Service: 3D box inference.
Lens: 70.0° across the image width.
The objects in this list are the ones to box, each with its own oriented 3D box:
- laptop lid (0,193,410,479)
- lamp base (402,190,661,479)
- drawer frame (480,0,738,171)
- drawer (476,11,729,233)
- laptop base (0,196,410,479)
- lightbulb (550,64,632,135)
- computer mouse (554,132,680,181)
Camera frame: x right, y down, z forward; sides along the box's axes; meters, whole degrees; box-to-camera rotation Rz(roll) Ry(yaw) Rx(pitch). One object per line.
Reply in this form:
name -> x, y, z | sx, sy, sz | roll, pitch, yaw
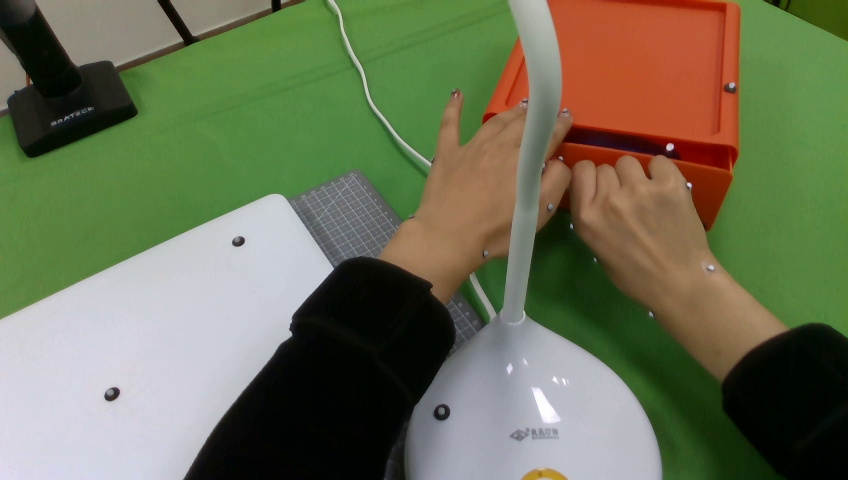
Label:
laptop lid -> -0.215, 0.109, 0.424 | 0.357, 0.013, 0.239 | -27, 55, -16
lamp base -> 0.059, 0.074, 0.333 | 0.161, 0.182, 0.177 | -12, 48, -6
drawer frame -> 0.176, -0.141, 0.564 | 0.201, 0.083, 0.212 | 11, 52, 15
drawer -> 0.168, -0.119, 0.549 | 0.194, 0.074, 0.210 | 11, 52, 16
laptop base -> -0.215, 0.115, 0.435 | 0.354, 0.023, 0.233 | -28, 57, -17
lightbulb -> 0.158, -0.127, 0.565 | 0.059, 0.060, 0.106 | -17, 35, -8
computer mouse -> 0.163, -0.061, 0.521 | 0.117, 0.041, 0.062 | 6, 51, 8
